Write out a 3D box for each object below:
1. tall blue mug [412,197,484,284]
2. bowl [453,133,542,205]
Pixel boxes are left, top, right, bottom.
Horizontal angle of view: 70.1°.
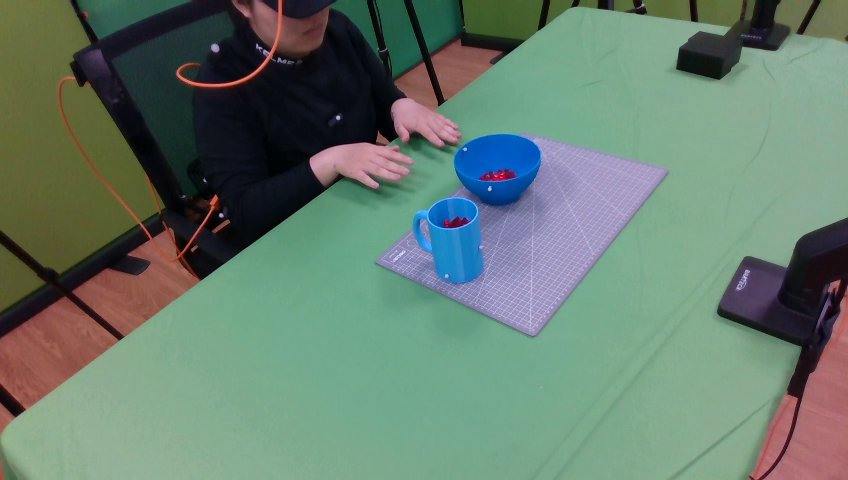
[{"bbox_3d":[0.033,0.002,0.903,0.107,0.108,0.077,-3,41,9],"label":"tall blue mug"},{"bbox_3d":[0.129,-0.113,1.045,0.151,0.077,0.150,-5,40,5],"label":"bowl"}]
